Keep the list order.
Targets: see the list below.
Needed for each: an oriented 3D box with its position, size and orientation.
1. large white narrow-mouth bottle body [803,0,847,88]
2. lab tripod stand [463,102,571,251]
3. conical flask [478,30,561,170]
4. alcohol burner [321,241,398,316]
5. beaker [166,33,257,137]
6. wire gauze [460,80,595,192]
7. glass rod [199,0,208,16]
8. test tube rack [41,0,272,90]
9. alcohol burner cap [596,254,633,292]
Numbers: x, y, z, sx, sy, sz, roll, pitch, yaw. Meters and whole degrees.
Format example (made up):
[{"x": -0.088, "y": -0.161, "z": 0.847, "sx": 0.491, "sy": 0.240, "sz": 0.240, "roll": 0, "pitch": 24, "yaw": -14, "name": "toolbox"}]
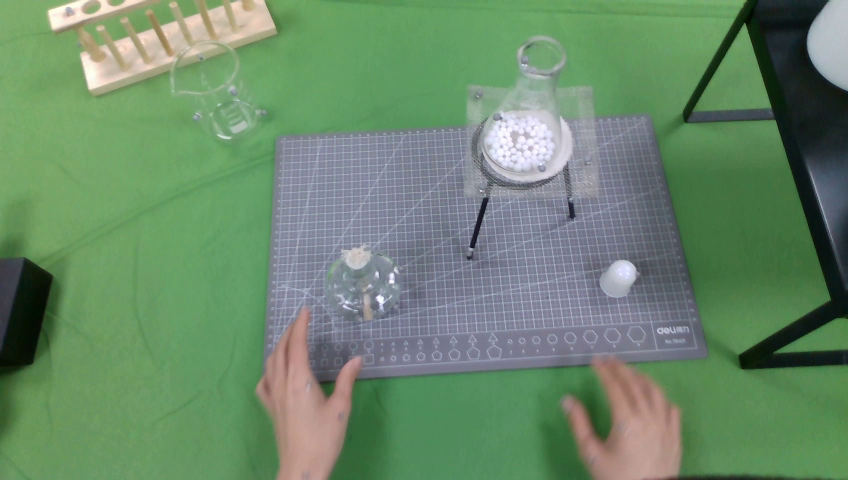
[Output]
[{"x": 0.382, "y": -0.208, "z": 0.452, "sx": 0.102, "sy": 0.196, "sz": 0.101, "roll": 0, "pitch": 64, "yaw": 1, "name": "large white narrow-mouth bottle body"}, {"x": 0.090, "y": -0.067, "z": 0.622, "sx": 0.148, "sy": 0.132, "sz": 0.147, "roll": 0, "pitch": 65, "yaw": 0, "name": "lab tripod stand"}, {"x": 0.085, "y": -0.119, "z": 0.507, "sx": 0.075, "sy": 0.123, "sz": 0.075, "roll": 0, "pitch": 66, "yaw": 1, "name": "conical flask"}, {"x": -0.064, "y": 0.032, "z": 0.593, "sx": 0.078, "sy": 0.120, "sz": 0.077, "roll": 0, "pitch": 65, "yaw": 0, "name": "alcohol burner"}, {"x": -0.241, "y": -0.171, "z": 0.695, "sx": 0.073, "sy": 0.101, "sz": 0.084, "roll": 41, "pitch": 74, "yaw": 18, "name": "beaker"}, {"x": 0.095, "y": -0.098, "z": 0.563, "sx": 0.121, "sy": 0.011, "sz": 0.124, "roll": 3, "pitch": 65, "yaw": 0, "name": "wire gauze"}, {"x": -0.278, "y": -0.338, "z": 0.703, "sx": 0.008, "sy": 0.201, "sz": 0.008, "roll": 2, "pitch": 64, "yaw": -3, "name": "glass rod"}, {"x": -0.323, "y": -0.276, "z": 0.750, "sx": 0.242, "sy": 0.086, "sz": 0.066, "roll": -22, "pitch": 68, "yaw": -8, "name": "test tube rack"}, {"x": 0.199, "y": 0.031, "z": 0.627, "sx": 0.034, "sy": 0.048, "sz": 0.033, "roll": -1, "pitch": 67, "yaw": 2, "name": "alcohol burner cap"}]
